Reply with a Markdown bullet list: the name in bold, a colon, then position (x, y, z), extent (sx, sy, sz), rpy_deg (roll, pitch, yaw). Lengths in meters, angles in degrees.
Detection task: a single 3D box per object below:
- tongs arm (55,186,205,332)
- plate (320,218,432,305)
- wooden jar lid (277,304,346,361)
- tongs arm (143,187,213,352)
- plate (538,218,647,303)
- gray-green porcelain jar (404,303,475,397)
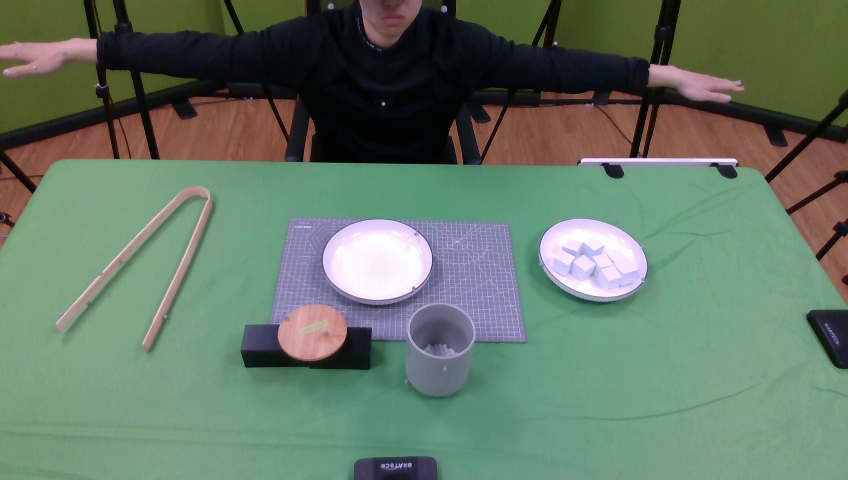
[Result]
- **tongs arm**: position (-0.530, 0.022, 1.126), extent (0.051, 0.026, 0.383), rpy_deg (14, 46, 8)
- **plate**: position (-0.089, 0.044, 1.134), extent (0.209, 0.038, 0.208), rpy_deg (3, 46, -2)
- **wooden jar lid**: position (-0.179, 0.150, 0.972), extent (0.108, 0.021, 0.107), rpy_deg (2, 45, -2)
- **tongs arm**: position (-0.449, 0.039, 1.122), extent (0.028, 0.028, 0.385), rpy_deg (2, 46, 1)
- **plate**: position (0.322, 0.042, 1.171), extent (0.208, 0.039, 0.206), rpy_deg (2, 46, -2)
- **gray-green porcelain jar**: position (0.022, 0.178, 0.956), extent (0.106, 0.127, 0.105), rpy_deg (2, 46, -2)
